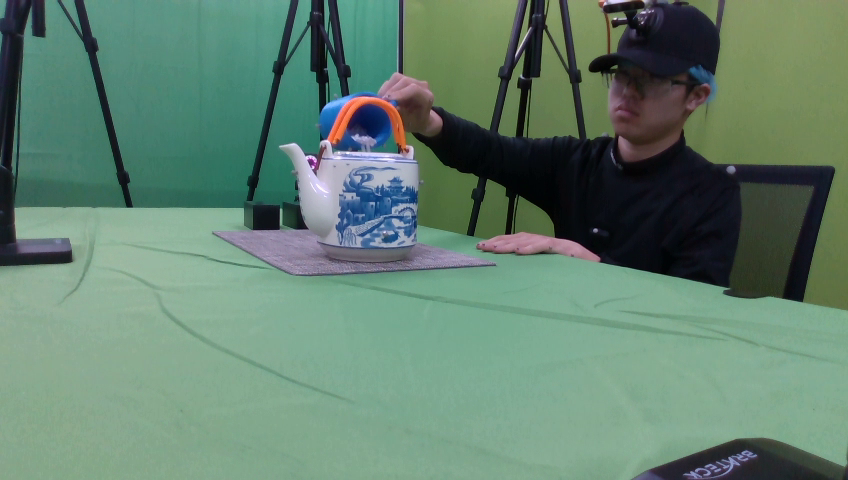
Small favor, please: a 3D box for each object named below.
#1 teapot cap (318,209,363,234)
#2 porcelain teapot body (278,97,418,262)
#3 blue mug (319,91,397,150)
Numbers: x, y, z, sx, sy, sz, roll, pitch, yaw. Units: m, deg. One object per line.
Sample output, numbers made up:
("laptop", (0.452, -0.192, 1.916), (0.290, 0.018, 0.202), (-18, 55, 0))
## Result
("teapot cap", (-0.158, -0.036, 1.144), (0.085, 0.044, 0.085), (0, 6, 0))
("porcelain teapot body", (-0.103, -0.086, 0.842), (0.206, 0.225, 0.144), (-4, 9, -38))
("blue mug", (-0.094, -0.190, 0.931), (0.117, 0.082, 0.105), (-36, 21, -20))
